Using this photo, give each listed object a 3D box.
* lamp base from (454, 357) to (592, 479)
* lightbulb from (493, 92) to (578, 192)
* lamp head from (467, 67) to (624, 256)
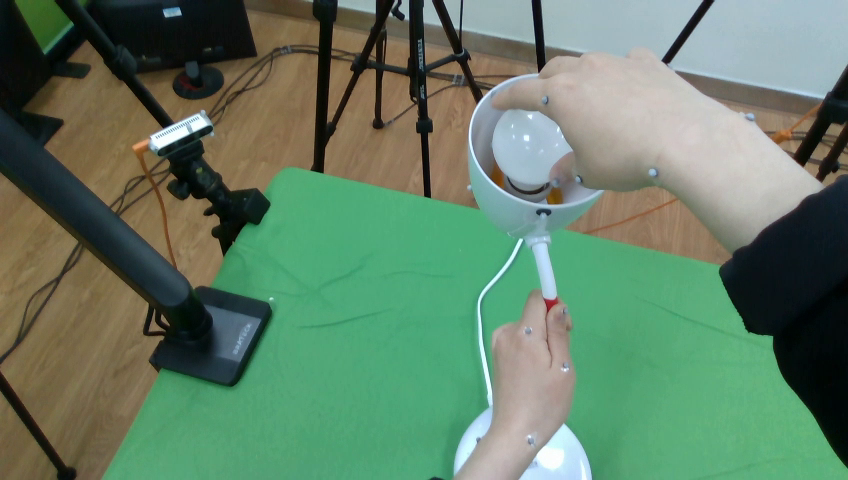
[{"bbox_3d":[0.110,0.212,0.648,0.161,0.182,0.177,-22,57,-15],"label":"lamp base"},{"bbox_3d":[0.079,-0.066,0.452,0.059,0.108,0.059,0,70,0],"label":"lightbulb"},{"bbox_3d":[0.086,-0.051,0.476,0.112,0.124,0.111,0,63,0],"label":"lamp head"}]
